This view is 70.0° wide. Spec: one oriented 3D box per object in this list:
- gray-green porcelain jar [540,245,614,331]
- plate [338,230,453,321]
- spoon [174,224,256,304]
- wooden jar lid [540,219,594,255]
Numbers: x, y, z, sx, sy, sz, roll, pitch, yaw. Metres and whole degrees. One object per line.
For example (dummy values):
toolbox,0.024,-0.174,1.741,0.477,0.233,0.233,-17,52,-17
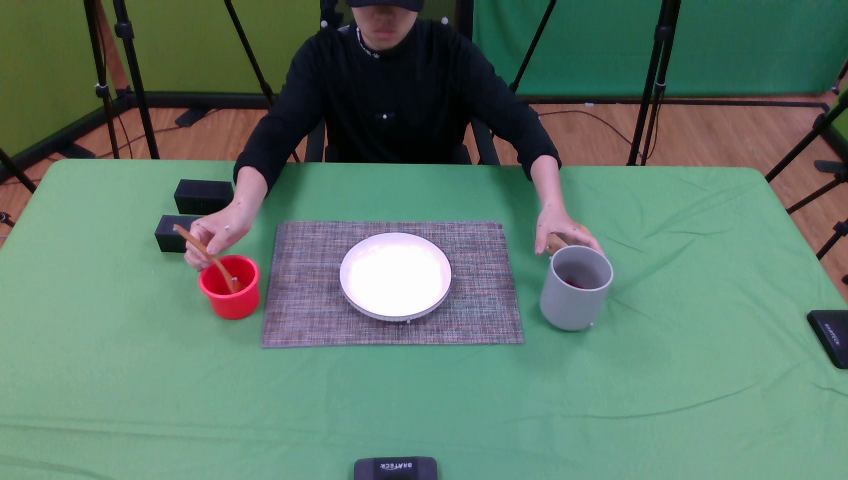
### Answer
gray-green porcelain jar,0.262,0.088,1.058,0.106,0.127,0.105,2,46,-2
plate,-0.051,0.068,1.111,0.208,0.039,0.206,2,46,-2
spoon,-0.348,0.041,1.016,0.021,0.195,0.041,-22,34,14
wooden jar lid,0.286,0.001,1.218,0.108,0.021,0.107,1,46,-1
